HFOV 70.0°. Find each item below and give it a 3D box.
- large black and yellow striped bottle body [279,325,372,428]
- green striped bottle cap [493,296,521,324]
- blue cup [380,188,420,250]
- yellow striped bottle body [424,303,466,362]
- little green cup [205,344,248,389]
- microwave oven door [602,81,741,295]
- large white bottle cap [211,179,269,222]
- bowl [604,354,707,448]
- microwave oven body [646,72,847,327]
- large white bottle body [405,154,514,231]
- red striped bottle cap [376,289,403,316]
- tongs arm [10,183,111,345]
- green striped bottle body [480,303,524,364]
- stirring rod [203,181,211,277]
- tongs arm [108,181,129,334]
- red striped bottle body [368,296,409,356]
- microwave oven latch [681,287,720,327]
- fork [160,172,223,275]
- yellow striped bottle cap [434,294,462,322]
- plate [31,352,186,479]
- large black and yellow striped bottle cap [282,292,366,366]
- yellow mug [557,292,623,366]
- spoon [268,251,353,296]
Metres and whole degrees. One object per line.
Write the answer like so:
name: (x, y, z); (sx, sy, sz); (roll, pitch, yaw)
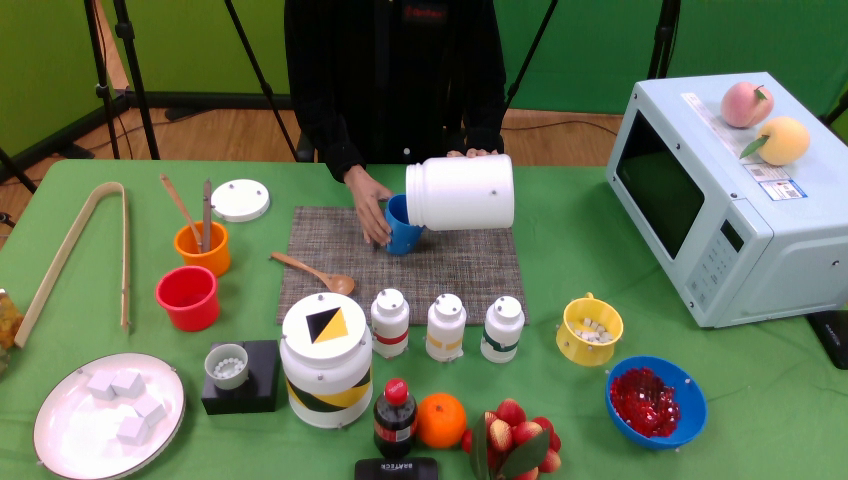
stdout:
large black and yellow striped bottle body: (-0.143, 0.181, 0.900); (0.131, 0.185, 0.130); (2, 46, -2)
green striped bottle cap: (0.133, 0.111, 0.962); (0.044, 0.020, 0.044); (2, 47, -2)
blue cup: (-0.045, -0.033, 1.158); (0.093, 0.100, 0.092); (10, 50, -12)
yellow striped bottle body: (0.035, 0.143, 0.995); (0.063, 0.121, 0.062); (3, 46, -3)
little green cup: (-0.294, 0.191, 0.909); (0.061, 0.039, 0.061); (1, 47, -1)
microwave oven door: (0.456, -0.107, 1.162); (0.039, 0.245, 0.353); (-6, 47, -11)
large white bottle cap: (-0.380, -0.082, 1.250); (0.115, 0.018, 0.114); (2, 47, -2)
bowl: (0.346, 0.261, 0.937); (0.151, 0.077, 0.150); (2, 46, -2)
microwave oven body: (0.607, -0.089, 1.164); (0.326, 0.261, 0.438); (-7, 46, -10)
large white bottle body: (0.061, -0.083, 1.072); (0.184, 0.131, 0.130); (-2, 46, 2)
red striped bottle cap: (-0.055, 0.098, 0.958); (0.044, 0.018, 0.044); (0, 47, 1)
tongs arm: (-0.658, 0.027, 1.109); (0.028, 0.028, 0.385); (-2, 45, 2)
green striped bottle body: (0.129, 0.147, 1.000); (0.063, 0.120, 0.063); (2, 46, -2)
stirring rod: (-0.396, -0.021, 1.107); (0.014, 0.006, 0.176); (-1, 89, -1)
tongs arm: (-0.571, 0.019, 1.123); (0.051, 0.026, 0.382); (-11, 47, -12)
red striped bottle body: (-0.059, 0.135, 0.997); (0.063, 0.120, 0.062); (6, 49, -6)
microwave oven latch: (0.494, 0.119, 1.087); (0.030, 0.029, 0.078); (-5, 46, -9)
fork: (-0.425, -0.030, 1.103); (0.028, 0.018, 0.207); (-28, 98, -12)
yellow striped bottle cap: (0.038, 0.107, 0.958); (0.044, 0.019, 0.044); (2, 45, -2)
plate: (-0.459, 0.262, 0.898); (0.209, 0.038, 0.208); (2, 46, -2)
large black and yellow striped bottle cap: (-0.138, 0.121, 0.841); (0.115, 0.019, 0.114); (3, 47, -3)
yellow mug: (0.285, 0.145, 1.051); (0.100, 0.064, 0.130); (7, 46, 4)
spoon: (-0.212, 0.057, 1.121); (0.193, 0.022, 0.041); (24, 74, 18)
